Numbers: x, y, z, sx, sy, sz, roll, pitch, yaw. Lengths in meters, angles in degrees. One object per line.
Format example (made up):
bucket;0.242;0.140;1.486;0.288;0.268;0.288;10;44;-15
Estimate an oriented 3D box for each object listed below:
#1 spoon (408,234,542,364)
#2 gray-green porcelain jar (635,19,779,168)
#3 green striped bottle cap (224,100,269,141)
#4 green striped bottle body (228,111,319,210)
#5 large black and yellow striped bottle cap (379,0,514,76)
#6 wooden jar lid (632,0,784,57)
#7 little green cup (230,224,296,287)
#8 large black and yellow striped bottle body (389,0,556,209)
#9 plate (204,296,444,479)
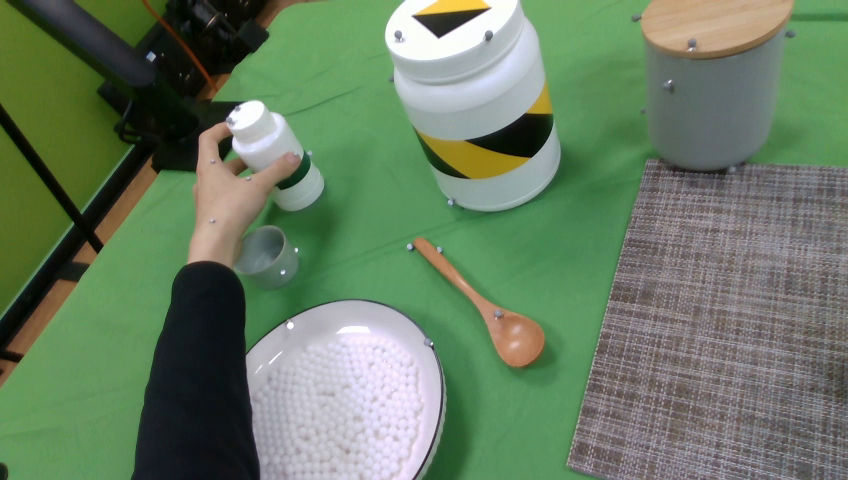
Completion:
spoon;0.038;0.043;0.541;0.041;0.022;0.191;-51;50;6
gray-green porcelain jar;0.240;-0.135;0.524;0.105;0.128;0.105;-11;47;12
green striped bottle cap;-0.184;-0.124;0.628;0.044;0.020;0.044;-10;53;13
green striped bottle body;-0.169;-0.094;0.667;0.063;0.120;0.062;-11;50;14
large black and yellow striped bottle cap;0.018;-0.180;0.503;0.115;0.019;0.114;-11;50;13
wooden jar lid;0.222;-0.175;0.479;0.108;0.021;0.107;-13;47;15
little green cup;-0.166;0.018;0.632;0.061;0.039;0.061;-14;47;16
large black and yellow striped bottle body;0.045;-0.132;0.566;0.130;0.186;0.129;-11;51;14
plate;-0.080;0.144;0.501;0.209;0.038;0.207;-11;51;14
